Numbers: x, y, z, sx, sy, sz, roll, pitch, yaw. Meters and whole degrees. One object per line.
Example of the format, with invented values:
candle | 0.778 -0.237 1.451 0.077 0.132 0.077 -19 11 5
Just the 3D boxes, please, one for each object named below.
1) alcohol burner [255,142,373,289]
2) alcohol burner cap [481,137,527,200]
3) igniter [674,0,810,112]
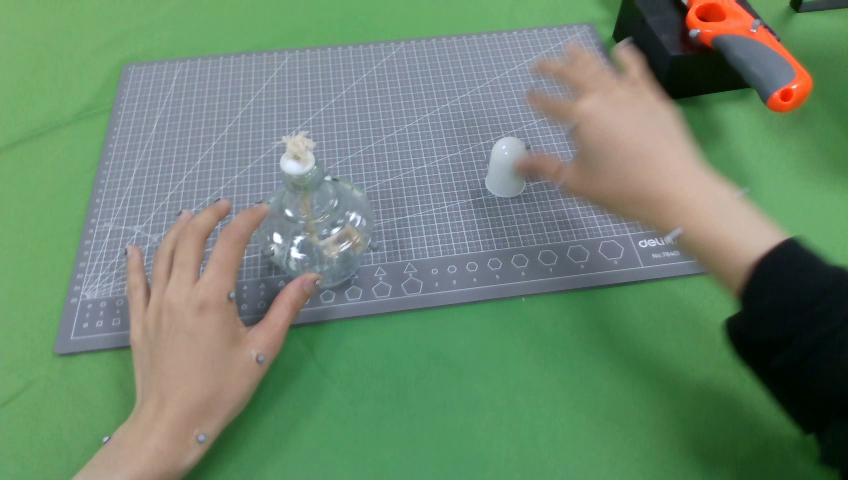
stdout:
alcohol burner | -0.073 -0.020 0.390 0.078 0.120 0.077 0 55 1
alcohol burner cap | 0.063 -0.057 0.462 0.034 0.048 0.033 1 53 -1
igniter | 0.240 -0.201 0.521 0.057 0.025 0.273 -13 52 -6
